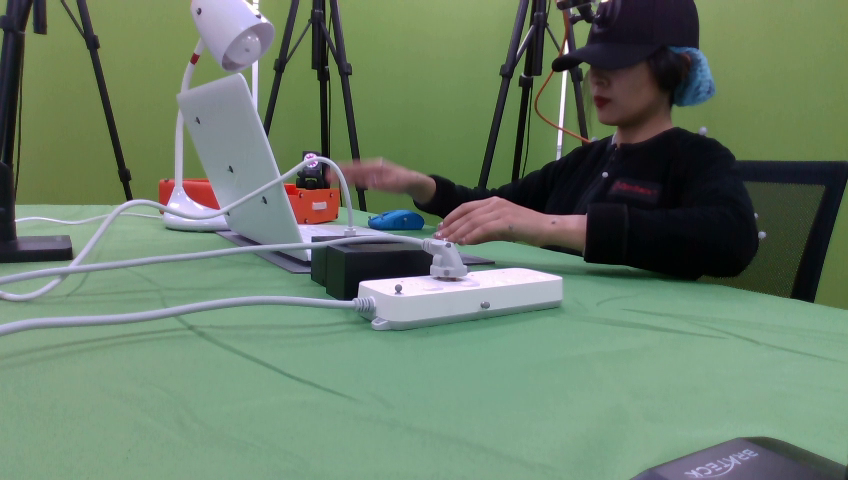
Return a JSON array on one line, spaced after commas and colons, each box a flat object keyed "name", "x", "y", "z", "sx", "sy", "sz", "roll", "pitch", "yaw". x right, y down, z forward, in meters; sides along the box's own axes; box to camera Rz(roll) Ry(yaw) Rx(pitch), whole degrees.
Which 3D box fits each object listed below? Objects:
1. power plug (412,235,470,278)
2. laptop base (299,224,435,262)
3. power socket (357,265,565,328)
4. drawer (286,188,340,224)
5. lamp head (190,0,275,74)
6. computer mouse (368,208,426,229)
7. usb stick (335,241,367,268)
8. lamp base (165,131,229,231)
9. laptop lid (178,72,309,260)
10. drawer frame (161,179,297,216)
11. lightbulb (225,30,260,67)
[{"name": "power plug", "x": 0.017, "y": 0.023, "z": 0.588, "sx": 0.035, "sy": 0.052, "sz": 0.072, "roll": -1, "pitch": 8, "yaw": -24}, {"name": "laptop base", "x": -0.135, "y": 0.002, "z": 0.949, "sx": 0.237, "sy": 0.023, "sz": 0.352, "roll": 2, "pitch": 6, "yaw": -33}, {"name": "power socket", "x": 0.041, "y": 0.049, "z": 0.572, "sx": 0.228, "sy": 0.032, "sz": 0.072, "roll": -3, "pitch": 8, "yaw": -35}, {"name": "drawer", "x": -0.314, "y": -0.078, "z": 1.301, "sx": 0.211, "sy": 0.073, "sz": 0.195, "roll": 3, "pitch": 8, "yaw": 15}, {"name": "lamp head", "x": -0.330, "y": -0.355, "z": 1.008, "sx": 0.123, "sy": 0.112, "sz": 0.112, "roll": 43, "pitch": 15, "yaw": 6}, {"name": "computer mouse", "x": -0.056, "y": -0.044, "z": 1.267, "sx": 0.118, "sy": 0.041, "sz": 0.062, "roll": -7, "pitch": 12, "yaw": -28}, {"name": "usb stick", "x": -0.094, "y": 0.017, "z": 0.747, "sx": 0.021, "sy": 0.027, "sz": 0.059, "roll": -3, "pitch": 9, "yaw": -34}, {"name": "lamp base", "x": -0.407, "y": -0.112, "z": 1.119, "sx": 0.179, "sy": 0.180, "sz": 0.161, "roll": -1, "pitch": 7, "yaw": 7}, {"name": "laptop lid", "x": -0.266, "y": -0.101, "z": 0.847, "sx": 0.013, "sy": 0.242, "sz": 0.355, "roll": -26, "pitch": 22, "yaw": -27}, {"name": "drawer frame", "x": -0.421, "y": -0.089, "z": 1.329, "sx": 0.213, "sy": 0.082, "sz": 0.202, "roll": 4, "pitch": 8, "yaw": 16}, {"name": "lightbulb", "x": -0.319, "y": -0.334, "z": 1.000, "sx": 0.107, "sy": 0.059, "sz": 0.059, "roll": 44, "pitch": 14, "yaw": 4}]
